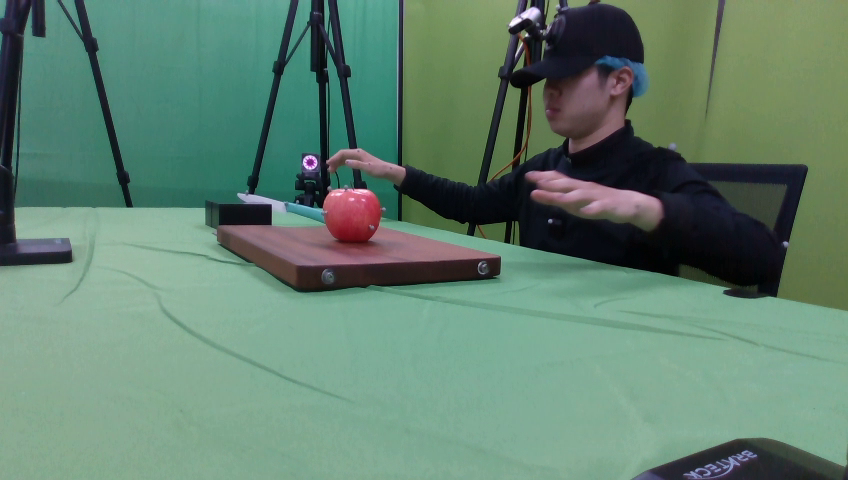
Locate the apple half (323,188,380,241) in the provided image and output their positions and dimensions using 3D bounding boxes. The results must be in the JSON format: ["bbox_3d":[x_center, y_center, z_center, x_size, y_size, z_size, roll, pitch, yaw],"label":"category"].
[{"bbox_3d":[-0.094,-0.034,0.839,0.081,0.074,0.053,1,10,-41],"label":"apple half"}]

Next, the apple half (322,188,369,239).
[{"bbox_3d":[-0.119,-0.040,0.868,0.082,0.081,0.032,-4,14,-41],"label":"apple half"}]

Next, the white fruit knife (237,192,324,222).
[{"bbox_3d":[-0.286,-0.069,1.251,0.208,0.027,0.016,14,-1,-34],"label":"white fruit knife"}]
